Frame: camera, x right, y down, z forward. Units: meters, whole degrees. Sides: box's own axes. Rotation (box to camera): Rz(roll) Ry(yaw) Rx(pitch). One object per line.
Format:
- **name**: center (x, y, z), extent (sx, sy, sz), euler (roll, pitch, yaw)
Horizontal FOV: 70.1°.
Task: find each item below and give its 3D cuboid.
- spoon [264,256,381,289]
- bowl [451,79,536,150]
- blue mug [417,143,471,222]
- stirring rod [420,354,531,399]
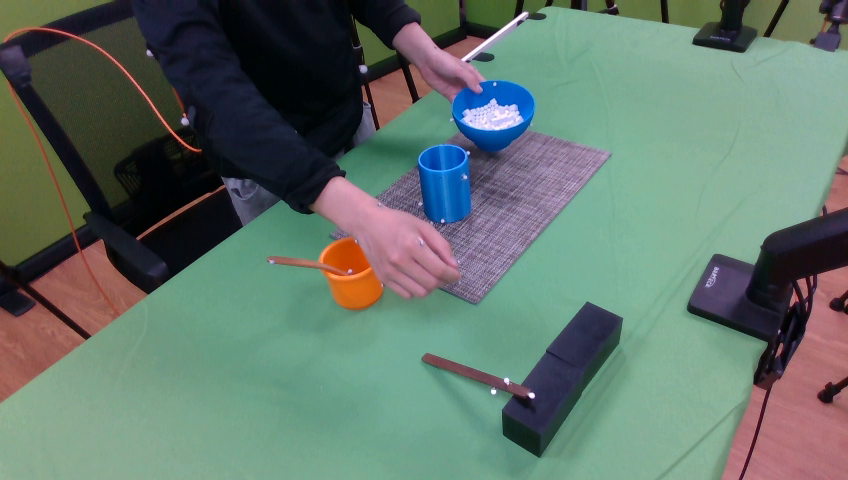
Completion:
- **spoon**: center (-0.136, 0.042, 0.842), extent (0.041, 0.195, 0.021), euler (43, 106, 43)
- **bowl**: center (0.126, -0.217, 1.100), extent (0.151, 0.077, 0.150), euler (-3, 49, 3)
- **blue mug**: center (0.031, -0.104, 1.014), extent (0.082, 0.106, 0.115), euler (-14, 41, -7)
- **stirring rod**: center (0.058, 0.164, 0.738), extent (0.174, 0.006, 0.014), euler (8, 42, 46)
